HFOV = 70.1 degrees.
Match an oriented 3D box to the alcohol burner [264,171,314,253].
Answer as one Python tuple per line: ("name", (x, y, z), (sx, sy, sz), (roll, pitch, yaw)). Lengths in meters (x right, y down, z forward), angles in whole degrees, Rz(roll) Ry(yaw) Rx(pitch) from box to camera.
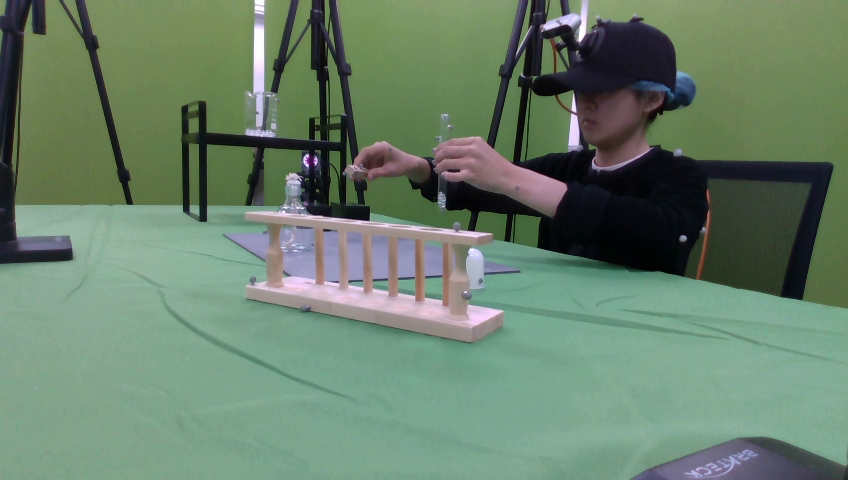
("alcohol burner", (-0.194, -0.042, 0.888), (0.078, 0.119, 0.078), (3, 5, 0))

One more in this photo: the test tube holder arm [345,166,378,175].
("test tube holder arm", (-0.112, -0.126, 1.106), (0.013, 0.015, 0.178), (49, 11, 1))

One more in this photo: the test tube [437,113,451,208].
("test tube", (0.032, -0.125, 0.960), (0.017, 0.150, 0.017), (2, 9, 0))

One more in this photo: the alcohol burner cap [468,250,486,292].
("alcohol burner cap", (0.056, 0.035, 0.690), (0.034, 0.048, 0.034), (2, 7, 0))

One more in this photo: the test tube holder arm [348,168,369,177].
("test tube holder arm", (-0.115, -0.118, 1.061), (0.010, 0.015, 0.088), (49, 11, 2))

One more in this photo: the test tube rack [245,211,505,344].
("test tube rack", (-0.049, 0.025, 0.547), (0.241, 0.085, 0.067), (7, 8, 29))

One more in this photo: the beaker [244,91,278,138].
("beaker", (-0.368, -0.280, 1.356), (0.074, 0.100, 0.084), (4, 8, 6))
